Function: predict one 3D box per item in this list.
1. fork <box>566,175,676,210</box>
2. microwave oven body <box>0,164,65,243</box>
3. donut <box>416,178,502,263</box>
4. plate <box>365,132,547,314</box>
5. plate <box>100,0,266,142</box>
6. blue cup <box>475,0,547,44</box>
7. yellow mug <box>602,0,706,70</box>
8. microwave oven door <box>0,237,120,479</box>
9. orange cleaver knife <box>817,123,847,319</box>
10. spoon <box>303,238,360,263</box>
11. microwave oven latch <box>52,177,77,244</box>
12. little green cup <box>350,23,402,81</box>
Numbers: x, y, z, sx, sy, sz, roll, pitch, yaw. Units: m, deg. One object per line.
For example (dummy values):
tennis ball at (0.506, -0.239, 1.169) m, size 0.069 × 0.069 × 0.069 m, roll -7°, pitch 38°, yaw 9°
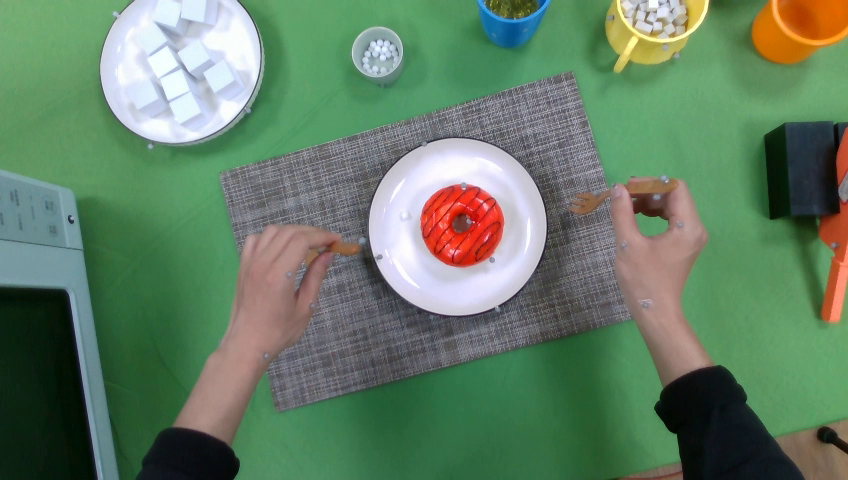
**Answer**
fork at (0.187, -0.048, 0.599) m, size 0.018 × 0.207 × 0.028 m, roll 34°, pitch 85°, yaw -5°
microwave oven body at (-0.560, 0.161, 0.631) m, size 0.326 × 0.261 × 0.440 m, roll -12°, pitch 85°, yaw 4°
donut at (0.040, -0.022, 0.692) m, size 0.099 × 0.048 × 0.099 m, roll 0°, pitch 86°, yaw 7°
plate at (0.036, -0.020, 0.703) m, size 0.209 × 0.038 × 0.208 m, roll 0°, pitch 86°, yaw 6°
plate at (-0.294, -0.221, 0.753) m, size 0.207 × 0.039 × 0.207 m, roll 0°, pitch 85°, yaw 5°
blue cup at (0.098, -0.271, 0.690) m, size 0.092 × 0.100 × 0.092 m, roll 0°, pitch 87°, yaw 4°
yellow mug at (0.252, -0.251, 0.691) m, size 0.100 × 0.064 × 0.131 m, roll 33°, pitch 90°, yaw 7°
microwave oven door at (-0.410, 0.171, 0.612) m, size 0.039 × 0.244 × 0.355 m, roll -13°, pitch 84°, yaw 4°
orange cleaver knife at (0.442, -0.017, 0.648) m, size 0.012 × 0.076 × 0.213 m, roll 0°, pitch 115°, yaw 8°
spoon at (-0.094, 0.007, 0.605) m, size 0.041 × 0.193 × 0.022 m, roll -37°, pitch 97°, yaw -16°
microwave oven latch at (-0.444, -0.034, 0.733) m, size 0.030 × 0.029 × 0.079 m, roll -9°, pitch 85°, yaw 4°
little green cup at (-0.055, -0.224, 0.731) m, size 0.061 × 0.039 × 0.061 m, roll -1°, pitch 85°, yaw 6°
